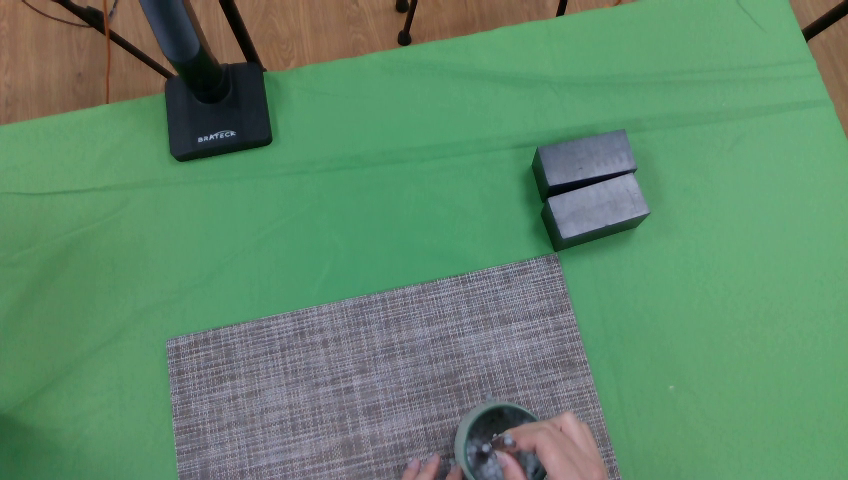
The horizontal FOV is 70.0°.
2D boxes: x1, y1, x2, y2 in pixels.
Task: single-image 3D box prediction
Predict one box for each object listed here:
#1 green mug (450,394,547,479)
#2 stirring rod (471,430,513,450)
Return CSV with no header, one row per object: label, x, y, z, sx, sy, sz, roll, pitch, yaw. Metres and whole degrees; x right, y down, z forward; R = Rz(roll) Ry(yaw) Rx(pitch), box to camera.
green mug,0.080,0.209,0.582,0.092,0.105,0.124,-29,75,-7
stirring rod,0.056,0.175,0.526,0.014,0.177,0.006,13,69,3
